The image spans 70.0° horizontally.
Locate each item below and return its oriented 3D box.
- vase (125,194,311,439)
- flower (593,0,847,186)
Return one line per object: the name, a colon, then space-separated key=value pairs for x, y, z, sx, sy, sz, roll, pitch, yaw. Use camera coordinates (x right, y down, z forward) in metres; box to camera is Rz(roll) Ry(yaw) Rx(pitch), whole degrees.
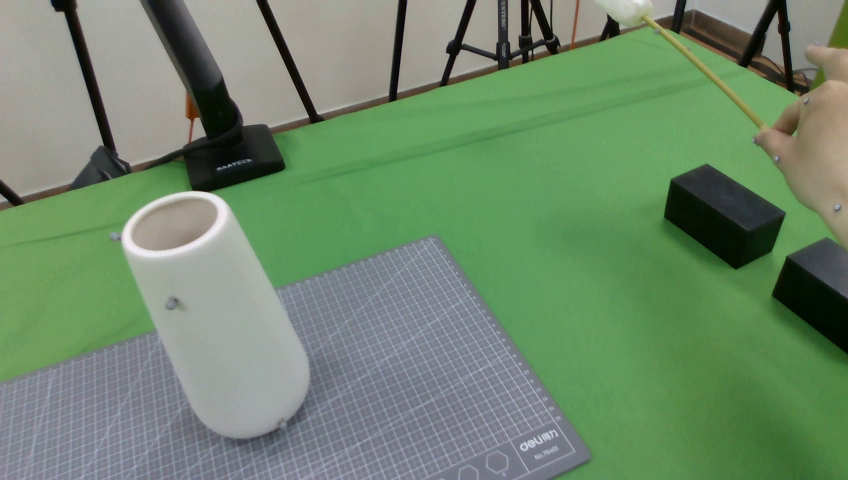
vase: x=-0.152 y=0.063 z=0.462 sx=0.098 sy=0.202 sz=0.097 roll=-5 pitch=40 yaw=4
flower: x=0.268 y=-0.126 z=0.519 sx=0.044 sy=0.038 sz=0.358 roll=-17 pitch=56 yaw=-25
